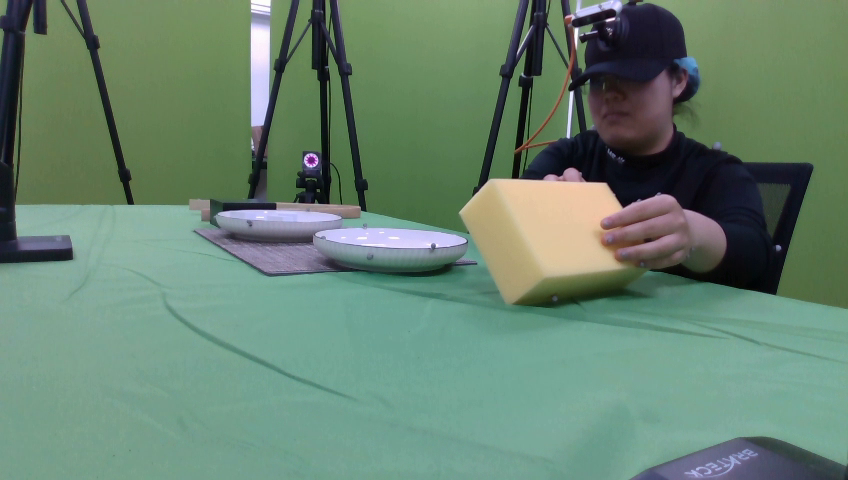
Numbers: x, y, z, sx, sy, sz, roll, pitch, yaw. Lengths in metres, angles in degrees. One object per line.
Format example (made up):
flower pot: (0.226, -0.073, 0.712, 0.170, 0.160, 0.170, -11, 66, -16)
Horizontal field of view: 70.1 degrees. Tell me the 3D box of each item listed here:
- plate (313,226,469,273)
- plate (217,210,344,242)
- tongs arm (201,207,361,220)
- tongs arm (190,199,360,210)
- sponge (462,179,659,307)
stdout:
plate: (-0.044, 0.012, 0.807, 0.209, 0.038, 0.209, 2, 7, 0)
plate: (-0.241, -0.024, 1.026, 0.208, 0.039, 0.207, 3, 7, 0)
tongs arm: (-0.302, -0.060, 1.350, 0.390, 0.028, 0.028, -3, 7, -38)
tongs arm: (-0.341, -0.075, 1.419, 0.387, 0.026, 0.050, 1, 8, -25)
sponge: (0.154, 0.000, 0.661, 0.208, 0.118, 0.060, -2, -32, -40)
